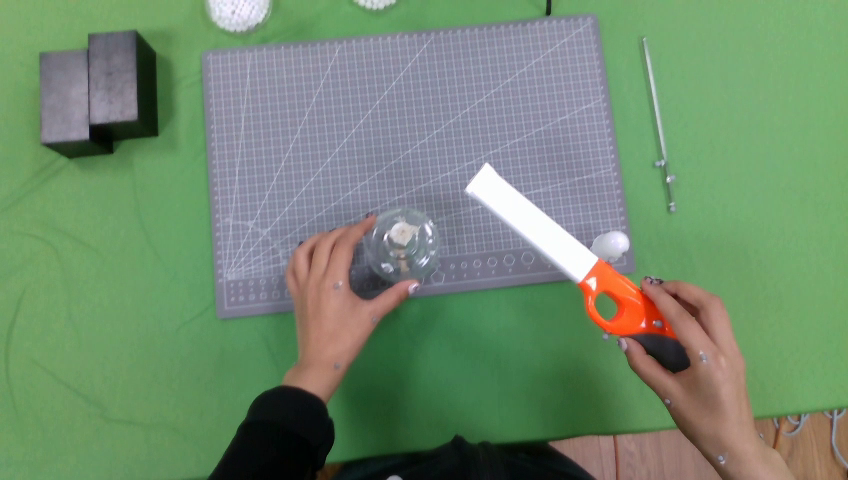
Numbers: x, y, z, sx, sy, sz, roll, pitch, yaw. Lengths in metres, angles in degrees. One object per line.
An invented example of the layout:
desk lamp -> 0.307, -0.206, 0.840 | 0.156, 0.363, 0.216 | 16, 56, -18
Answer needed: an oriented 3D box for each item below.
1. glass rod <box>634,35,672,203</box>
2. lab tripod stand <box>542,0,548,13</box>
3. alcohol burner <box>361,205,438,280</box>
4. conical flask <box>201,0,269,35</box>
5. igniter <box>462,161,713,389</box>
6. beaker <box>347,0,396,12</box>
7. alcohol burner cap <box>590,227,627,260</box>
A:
glass rod -> 0.257, -0.138, 0.681 | 0.008, 0.008, 0.199 | -7, 82, -2
lab tripod stand -> 0.090, -0.323, 0.642 | 0.148, 0.132, 0.148 | 0, 83, 0
alcohol burner -> -0.024, -0.001, 0.600 | 0.078, 0.119, 0.077 | 0, 79, -2
conical flask -> -0.213, -0.276, 0.635 | 0.075, 0.122, 0.075 | 0, 81, -1
igniter -> 0.147, 0.032, 0.526 | 0.277, 0.025, 0.057 | 40, 84, -4
beaker -> -0.058, -0.303, 0.654 | 0.084, 0.100, 0.074 | -33, 83, -6
alcohol burner cap -> 0.197, 0.002, 0.639 | 0.034, 0.048, 0.033 | 0, 81, -1
